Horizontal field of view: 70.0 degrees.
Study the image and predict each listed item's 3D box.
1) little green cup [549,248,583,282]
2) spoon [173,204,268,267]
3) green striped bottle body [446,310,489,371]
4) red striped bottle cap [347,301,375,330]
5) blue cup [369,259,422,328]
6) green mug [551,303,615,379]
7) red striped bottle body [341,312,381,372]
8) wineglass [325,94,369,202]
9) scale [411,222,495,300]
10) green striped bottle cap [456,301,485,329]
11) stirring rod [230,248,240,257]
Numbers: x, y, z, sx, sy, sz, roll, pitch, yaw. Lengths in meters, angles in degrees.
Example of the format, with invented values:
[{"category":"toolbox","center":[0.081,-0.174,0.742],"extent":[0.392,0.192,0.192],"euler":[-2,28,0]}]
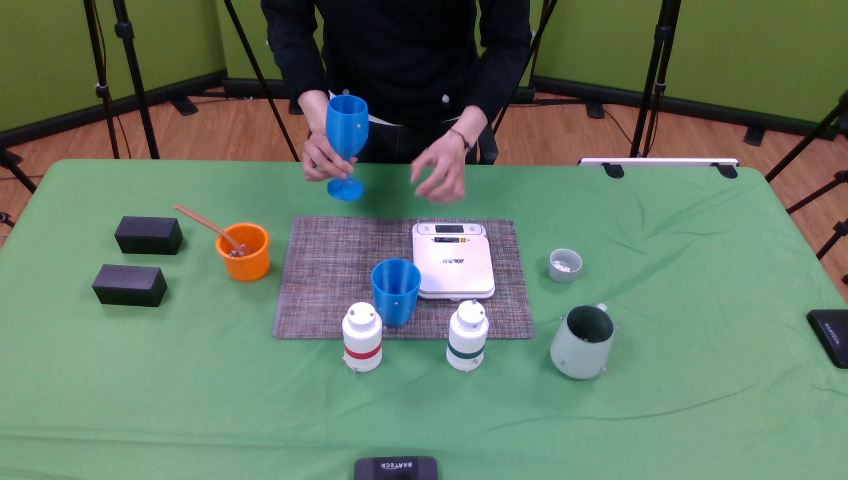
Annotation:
[{"category":"little green cup","center":[0.268,0.050,1.156],"extent":[0.061,0.039,0.061],"euler":[1,46,-1]},{"category":"spoon","center":[-0.363,-0.009,1.089],"extent":[0.021,0.195,0.041],"euler":[-35,31,23]},{"category":"green striped bottle body","center":[0.070,0.155,0.984],"extent":[0.063,0.120,0.063],"euler":[2,46,-2]},{"category":"red striped bottle cap","center":[-0.097,0.116,0.934],"extent":[0.044,0.018,0.044],"euler":[3,49,-3]},{"category":"blue cup","center":[-0.052,0.097,1.039],"extent":[0.093,0.101,0.092],"euler":[3,43,-3]},{"category":"green mug","center":[0.271,0.157,1.007],"extent":[0.092,0.105,0.125],"euler":[27,50,21]},{"category":"red striped bottle body","center":[-0.100,0.154,0.972],"extent":[0.063,0.120,0.062],"euler":[2,46,-2]},{"category":"wineglass","center":[-0.131,-0.154,1.024],"extent":[0.074,0.173,0.073],"euler":[5,42,-4]},{"category":"scale","center":[0.052,0.031,1.158],"extent":[0.149,0.032,0.199],"euler":[1,46,-4]},{"category":"green striped bottle cap","center":[0.073,0.116,0.943],"extent":[0.044,0.020,0.044],"euler":[3,46,-3]},{"category":"stirring rod","center":[-0.330,0.023,1.059],"extent":[0.014,0.176,0.006],"euler":[33,79,-12]}]
